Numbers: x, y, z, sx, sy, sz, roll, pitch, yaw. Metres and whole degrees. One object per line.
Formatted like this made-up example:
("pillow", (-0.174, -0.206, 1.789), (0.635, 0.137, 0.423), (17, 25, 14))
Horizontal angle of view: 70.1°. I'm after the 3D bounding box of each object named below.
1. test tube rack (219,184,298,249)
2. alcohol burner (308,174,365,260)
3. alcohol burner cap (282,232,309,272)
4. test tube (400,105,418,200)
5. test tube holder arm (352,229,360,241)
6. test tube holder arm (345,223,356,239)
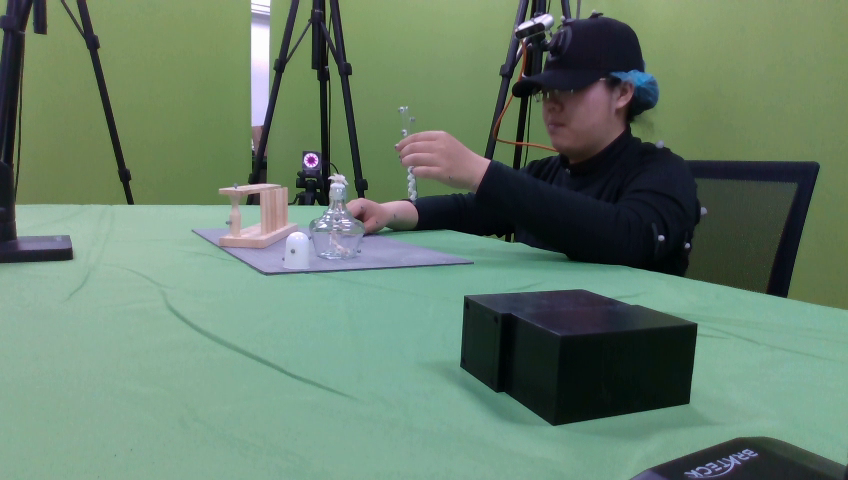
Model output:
("test tube rack", (-0.266, -0.046, 1.001), (0.067, 0.085, 0.242), (3, 7, 0))
("alcohol burner", (-0.121, -0.033, 0.841), (0.078, 0.119, 0.078), (3, 5, 0))
("alcohol burner cap", (-0.157, 0.014, 0.740), (0.034, 0.048, 0.034), (3, 6, 0))
("test tube", (-0.023, -0.137, 0.954), (0.017, 0.150, 0.017), (-5, 15, 2))
("test tube holder arm", (-0.120, -0.009, 1.040), (0.010, 0.015, 0.087), (36, 0, -12))
("test tube holder arm", (-0.132, -0.018, 1.083), (0.013, 0.015, 0.178), (36, 0, -13))
